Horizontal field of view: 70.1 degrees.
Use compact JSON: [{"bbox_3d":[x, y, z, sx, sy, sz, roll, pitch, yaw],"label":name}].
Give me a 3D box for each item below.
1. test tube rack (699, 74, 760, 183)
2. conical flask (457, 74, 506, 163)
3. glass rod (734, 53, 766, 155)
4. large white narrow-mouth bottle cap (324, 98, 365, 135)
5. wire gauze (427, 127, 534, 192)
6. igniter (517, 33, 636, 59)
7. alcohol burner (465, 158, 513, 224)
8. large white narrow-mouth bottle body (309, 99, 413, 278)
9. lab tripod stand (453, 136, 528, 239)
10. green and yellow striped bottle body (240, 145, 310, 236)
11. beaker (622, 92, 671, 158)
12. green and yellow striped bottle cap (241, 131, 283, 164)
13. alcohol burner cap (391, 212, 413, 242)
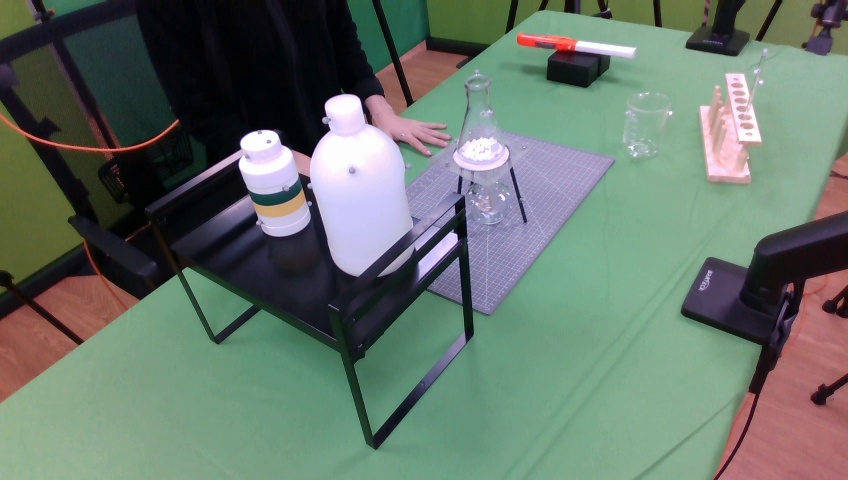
[{"bbox_3d":[0.547,-0.208,1.095,0.066,0.085,0.242,6,42,15],"label":"test tube rack"},{"bbox_3d":[0.082,-0.181,0.893,0.075,0.122,0.075,-4,41,4],"label":"conical flask"},{"bbox_3d":[0.540,-0.220,1.007,0.008,0.201,0.008,-5,46,6],"label":"glass rod"},{"bbox_3d":[-0.076,-0.120,0.585,0.038,0.024,0.037,-3,42,3],"label":"large white narrow-mouth bottle cap"},{"bbox_3d":[0.086,-0.130,0.925,0.124,0.011,0.122,28,54,31],"label":"wire gauze"},{"bbox_3d":[0.336,-0.441,1.369,0.275,0.025,0.057,17,41,24],"label":"igniter"},{"bbox_3d":[0.105,-0.085,0.987,0.078,0.119,0.077,-5,43,5],"label":"alcohol burner"},{"bbox_3d":[-0.068,-0.057,0.645,0.102,0.195,0.101,-3,42,4],"label":"large white narrow-mouth bottle body"},{"bbox_3d":[0.095,-0.086,0.974,0.148,0.132,0.147,-4,43,4],"label":"lab tripod stand"},{"bbox_3d":[-0.181,-0.068,0.729,0.063,0.120,0.063,-4,40,4],"label":"green and yellow striped bottle body"},{"bbox_3d":[0.402,-0.209,1.106,0.074,0.101,0.083,-9,40,-2],"label":"beaker"},{"bbox_3d":[-0.187,-0.107,0.695,0.045,0.020,0.045,-3,39,3],"label":"green and yellow striped bottle cap"},{"bbox_3d":[-0.038,-0.023,0.989,0.034,0.048,0.033,-5,40,5],"label":"alcohol burner cap"}]
